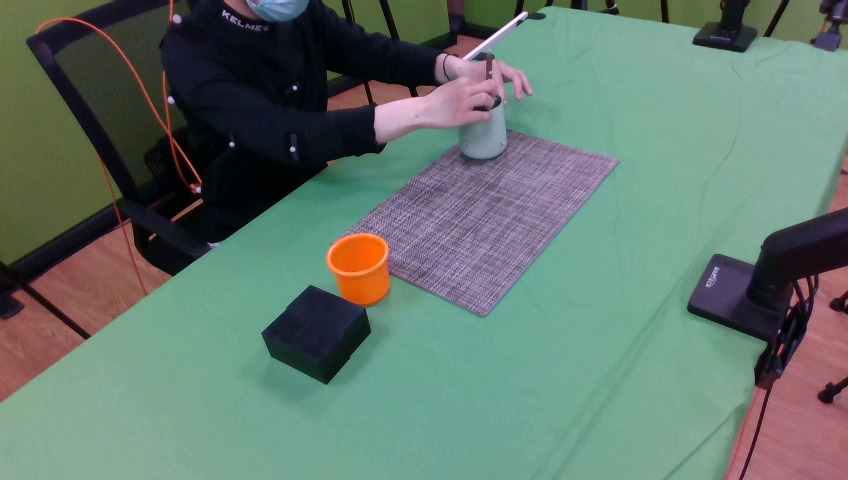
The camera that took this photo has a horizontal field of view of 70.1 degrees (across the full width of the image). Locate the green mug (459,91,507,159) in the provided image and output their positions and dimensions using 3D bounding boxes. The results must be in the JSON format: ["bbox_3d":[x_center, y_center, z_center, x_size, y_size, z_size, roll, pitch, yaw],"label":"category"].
[{"bbox_3d":[0.117,-0.225,1.144,0.092,0.105,0.125,14,45,24],"label":"green mug"}]

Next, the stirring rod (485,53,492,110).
[{"bbox_3d":[0.116,-0.249,1.094,0.006,0.176,0.014,19,38,32],"label":"stirring rod"}]
